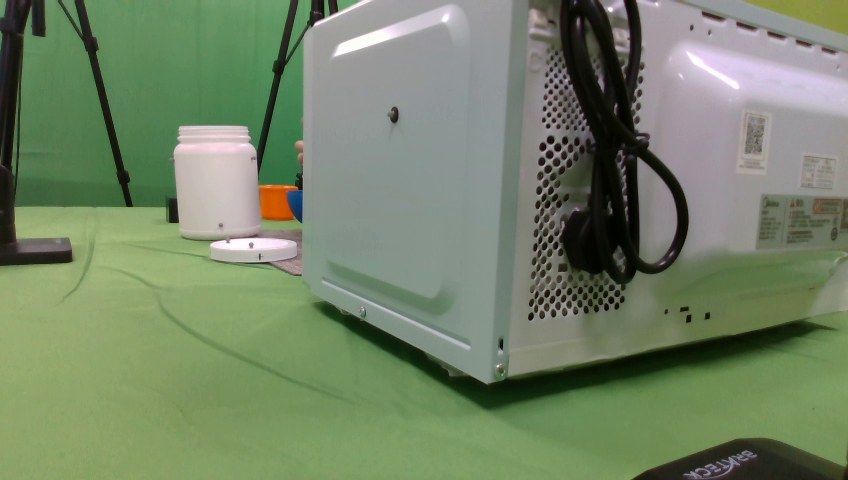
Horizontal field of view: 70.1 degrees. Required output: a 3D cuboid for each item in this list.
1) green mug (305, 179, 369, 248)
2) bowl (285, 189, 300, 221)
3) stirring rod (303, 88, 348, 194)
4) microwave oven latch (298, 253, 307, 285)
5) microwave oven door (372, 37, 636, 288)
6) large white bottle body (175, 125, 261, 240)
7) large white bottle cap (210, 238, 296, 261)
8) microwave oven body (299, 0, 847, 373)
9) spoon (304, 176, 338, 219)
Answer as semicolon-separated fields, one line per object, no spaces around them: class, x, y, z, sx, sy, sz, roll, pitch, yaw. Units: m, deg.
green mug;-0.133;-0.044;0.977;0.092;0.105;0.126;6;8;32
bowl;-0.180;-0.051;1.113;0.151;0.077;0.151;3;8;0
stirring rod;-0.154;-0.155;0.952;0.006;0.176;0.014;-21;10;-3
microwave oven latch;-0.081;0.027;0.582;0.079;0.029;0.030;-2;7;-33
microwave oven door;0.110;-0.080;0.686;0.358;0.243;0.039;-2;9;-33
large white bottle body;-0.349;-0.100;1.025;0.131;0.184;0.130;-1;9;0
large white bottle cap;-0.236;0.012;0.839;0.115;0.018;0.115;1;8;0
microwave oven body;0.152;-0.055;0.542;0.444;0.260;0.324;-2;7;-33
spoon;-0.201;-0.084;1.146;0.042;0.021;0.193;3;30;-25
